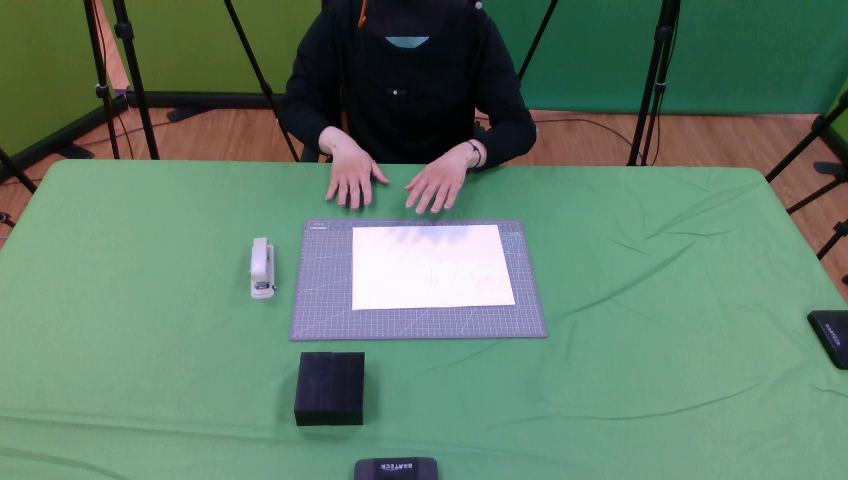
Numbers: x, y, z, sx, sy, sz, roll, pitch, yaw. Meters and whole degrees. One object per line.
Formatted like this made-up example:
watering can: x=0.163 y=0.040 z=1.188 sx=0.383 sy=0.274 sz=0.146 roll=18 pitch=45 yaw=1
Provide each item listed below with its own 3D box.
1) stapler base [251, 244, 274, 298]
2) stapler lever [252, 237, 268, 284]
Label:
stapler base: x=-0.300 y=0.050 z=1.124 sx=0.041 sy=0.024 sz=0.129 roll=-4 pitch=45 yaw=-11
stapler lever: x=-0.299 y=0.031 z=1.107 sx=0.027 sy=0.040 sz=0.117 roll=-4 pitch=45 yaw=-11
